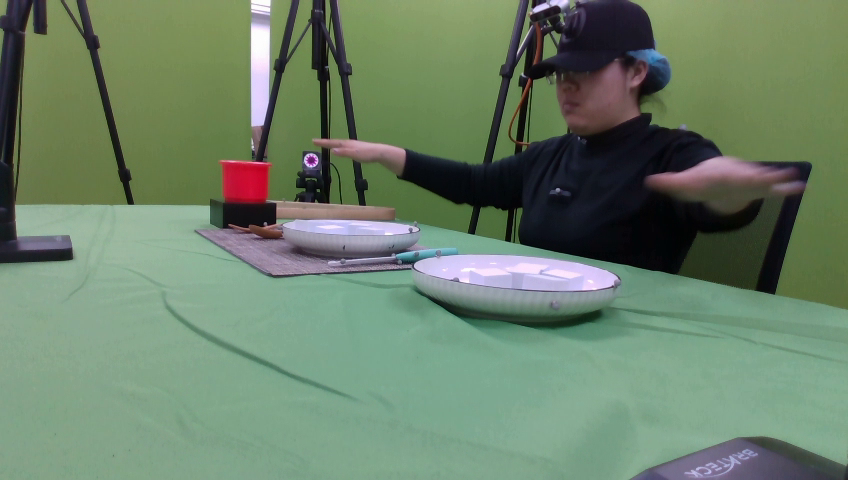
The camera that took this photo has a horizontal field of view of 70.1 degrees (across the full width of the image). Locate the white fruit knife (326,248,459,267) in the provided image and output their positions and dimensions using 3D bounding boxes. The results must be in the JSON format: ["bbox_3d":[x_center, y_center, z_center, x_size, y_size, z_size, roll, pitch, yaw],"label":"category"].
[{"bbox_3d":[-0.035,0.025,0.807,0.208,0.016,0.027,-4,-19,-34],"label":"white fruit knife"}]

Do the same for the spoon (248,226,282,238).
[{"bbox_3d":[-0.198,-0.015,1.024,0.195,0.021,0.041,-2,-9,-30],"label":"spoon"}]

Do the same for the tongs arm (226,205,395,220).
[{"bbox_3d":[-0.247,-0.062,1.382,0.389,0.028,0.028,1,5,-21],"label":"tongs arm"}]

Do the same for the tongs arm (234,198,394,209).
[{"bbox_3d":[-0.263,-0.076,1.460,0.386,0.026,0.050,3,7,-8],"label":"tongs arm"}]

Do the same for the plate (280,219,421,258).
[{"bbox_3d":[-0.108,-0.002,0.902,0.208,0.039,0.207,3,7,0],"label":"plate"}]

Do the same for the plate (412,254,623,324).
[{"bbox_3d":[0.090,0.047,0.609,0.209,0.038,0.209,2,7,0],"label":"plate"}]

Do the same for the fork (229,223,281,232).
[{"bbox_3d":[-0.244,-0.024,1.090,0.208,0.018,0.028,-3,3,-28],"label":"fork"}]
